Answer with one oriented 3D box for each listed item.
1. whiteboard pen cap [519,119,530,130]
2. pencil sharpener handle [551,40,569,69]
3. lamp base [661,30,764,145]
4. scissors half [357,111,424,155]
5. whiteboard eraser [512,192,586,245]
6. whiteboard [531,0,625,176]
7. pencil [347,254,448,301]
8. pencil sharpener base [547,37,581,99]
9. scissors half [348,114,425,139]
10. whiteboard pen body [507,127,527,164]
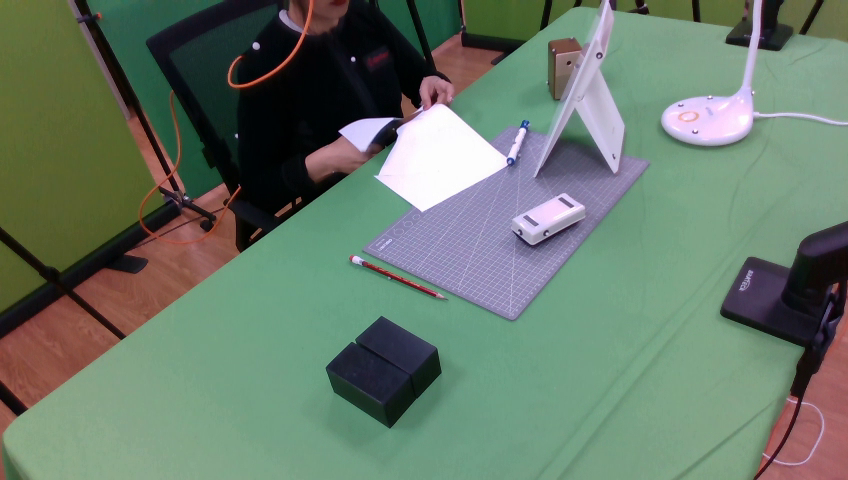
[{"bbox_3d":[0.199,-0.226,1.204,0.018,0.018,0.033,7,41,18],"label":"whiteboard pen cap"},{"bbox_3d":[0.291,-0.409,1.320,0.036,0.068,0.030,2,40,-6],"label":"pencil sharpener handle"},{"bbox_3d":[0.535,-0.287,1.096,0.179,0.181,0.159,-10,40,-4],"label":"lamp base"},{"bbox_3d":[-0.070,-0.224,1.260,0.174,0.040,0.013,-28,21,29],"label":"scissors half"},{"bbox_3d":[0.199,-0.032,0.962,0.113,0.042,0.055,-27,43,-20],"label":"whiteboard eraser"},{"bbox_3d":[0.320,-0.258,1.050,0.144,0.306,0.217,22,45,5],"label":"whiteboard"},{"bbox_3d":[-0.044,0.058,0.933,0.192,0.012,0.012,22,49,28],"label":"pencil"},{"bbox_3d":[0.299,-0.368,1.290,0.061,0.107,0.076,-8,40,2],"label":"pencil sharpener base"},{"bbox_3d":[-0.080,-0.241,1.251,0.174,0.040,0.013,-7,35,18],"label":"scissors half"},{"bbox_3d":[0.181,-0.189,1.162,0.017,0.017,0.140,8,42,19],"label":"whiteboard pen body"}]
